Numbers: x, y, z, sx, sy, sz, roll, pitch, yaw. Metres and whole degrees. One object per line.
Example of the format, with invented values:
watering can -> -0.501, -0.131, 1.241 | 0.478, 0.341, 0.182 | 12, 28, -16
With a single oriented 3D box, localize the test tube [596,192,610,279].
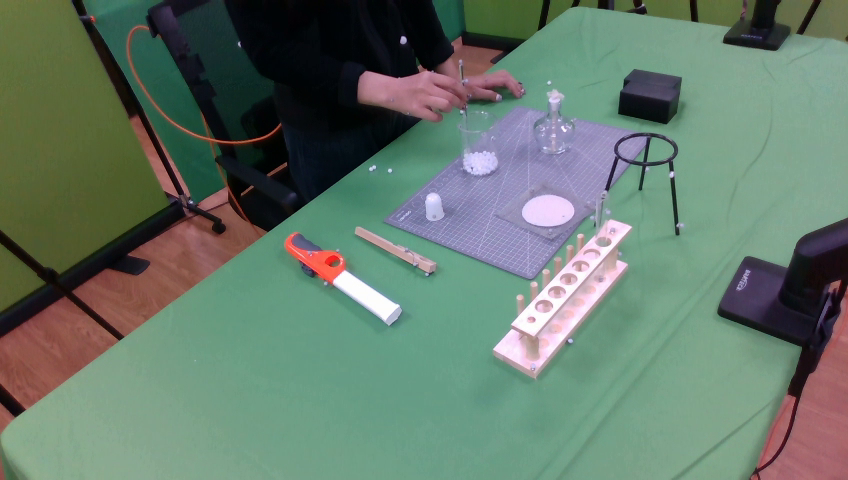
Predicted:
test tube -> 0.240, -0.002, 0.814 | 0.017, 0.151, 0.017 | -7, 42, 7

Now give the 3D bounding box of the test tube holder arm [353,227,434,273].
test tube holder arm -> -0.053, 0.014, 0.978 | 0.177, 0.015, 0.013 | 25, 16, 34

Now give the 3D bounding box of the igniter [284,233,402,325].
igniter -> -0.136, 0.054, 0.942 | 0.274, 0.025, 0.057 | 30, 63, 37

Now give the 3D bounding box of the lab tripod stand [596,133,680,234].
lab tripod stand -> 0.338, -0.090, 0.940 | 0.148, 0.132, 0.147 | -7, 39, 6

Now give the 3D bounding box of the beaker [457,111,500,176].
beaker -> 0.104, -0.175, 1.108 | 0.073, 0.101, 0.084 | 16, 46, 27

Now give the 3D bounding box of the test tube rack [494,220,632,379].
test tube rack -> 0.191, 0.068, 0.818 | 0.066, 0.085, 0.243 | 25, 51, 35

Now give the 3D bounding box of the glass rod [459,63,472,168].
glass rod -> 0.075, -0.216, 1.075 | 0.008, 0.200, 0.008 | -6, 35, 4

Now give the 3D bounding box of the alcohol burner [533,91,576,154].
alcohol burner -> 0.243, -0.221, 1.124 | 0.078, 0.119, 0.077 | -4, 39, 4

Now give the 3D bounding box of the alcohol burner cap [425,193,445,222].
alcohol burner cap -> 0.017, -0.058, 1.030 | 0.034, 0.048, 0.033 | -6, 40, 5

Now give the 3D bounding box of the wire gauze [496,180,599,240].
wire gauze -> 0.206, -0.050, 1.012 | 0.125, 0.011, 0.120 | -34, 45, -26

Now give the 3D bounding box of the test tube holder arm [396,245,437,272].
test tube holder arm -> -0.016, 0.029, 0.957 | 0.087, 0.015, 0.010 | 25, 16, 35
